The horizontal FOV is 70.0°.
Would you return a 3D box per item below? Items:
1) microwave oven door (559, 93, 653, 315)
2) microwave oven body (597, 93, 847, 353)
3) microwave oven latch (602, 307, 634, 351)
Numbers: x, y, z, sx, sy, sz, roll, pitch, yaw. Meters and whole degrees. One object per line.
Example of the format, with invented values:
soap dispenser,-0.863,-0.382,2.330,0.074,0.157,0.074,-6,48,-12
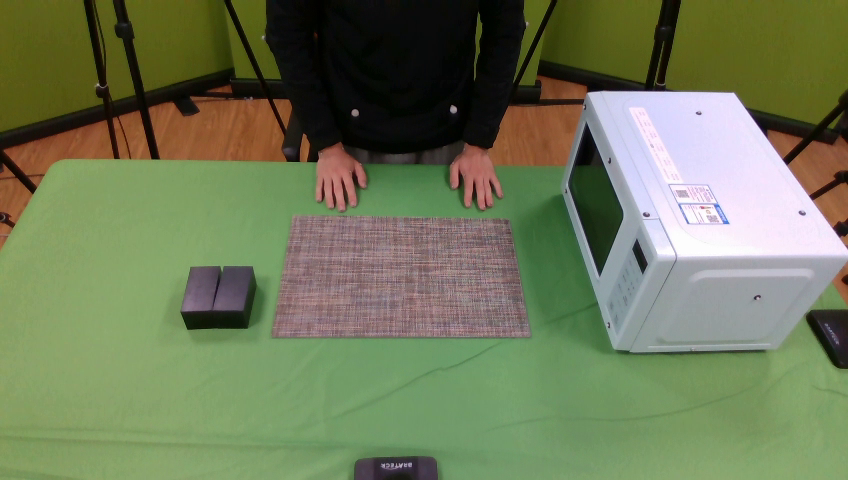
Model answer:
microwave oven door,0.327,-0.074,1.123,0.039,0.245,0.353,-1,46,-5
microwave oven body,0.475,-0.041,1.109,0.326,0.261,0.438,-1,45,-4
microwave oven latch,0.332,0.153,1.043,0.030,0.029,0.078,0,45,-4
